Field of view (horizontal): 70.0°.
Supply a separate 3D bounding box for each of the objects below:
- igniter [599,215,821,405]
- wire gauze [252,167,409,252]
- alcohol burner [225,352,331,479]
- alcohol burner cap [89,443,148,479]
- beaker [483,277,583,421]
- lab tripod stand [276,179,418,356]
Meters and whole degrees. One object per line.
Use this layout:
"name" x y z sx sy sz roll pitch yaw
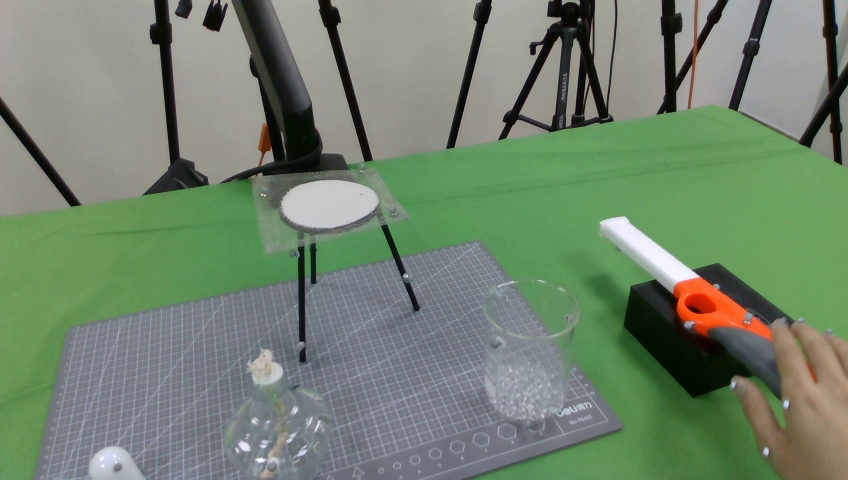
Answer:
"igniter" 0.239 0.046 0.541 0.057 0.025 0.273 -11 31 -12
"wire gauze" -0.087 -0.035 0.538 0.122 0.011 0.123 -10 35 -15
"alcohol burner" -0.107 0.124 0.438 0.078 0.120 0.077 0 36 1
"alcohol burner cap" -0.224 0.169 0.442 0.034 0.048 0.033 -1 34 1
"beaker" 0.082 0.090 0.496 0.074 0.101 0.083 -23 38 -28
"lab tripod stand" -0.081 0.018 0.579 0.148 0.132 0.147 0 32 1
